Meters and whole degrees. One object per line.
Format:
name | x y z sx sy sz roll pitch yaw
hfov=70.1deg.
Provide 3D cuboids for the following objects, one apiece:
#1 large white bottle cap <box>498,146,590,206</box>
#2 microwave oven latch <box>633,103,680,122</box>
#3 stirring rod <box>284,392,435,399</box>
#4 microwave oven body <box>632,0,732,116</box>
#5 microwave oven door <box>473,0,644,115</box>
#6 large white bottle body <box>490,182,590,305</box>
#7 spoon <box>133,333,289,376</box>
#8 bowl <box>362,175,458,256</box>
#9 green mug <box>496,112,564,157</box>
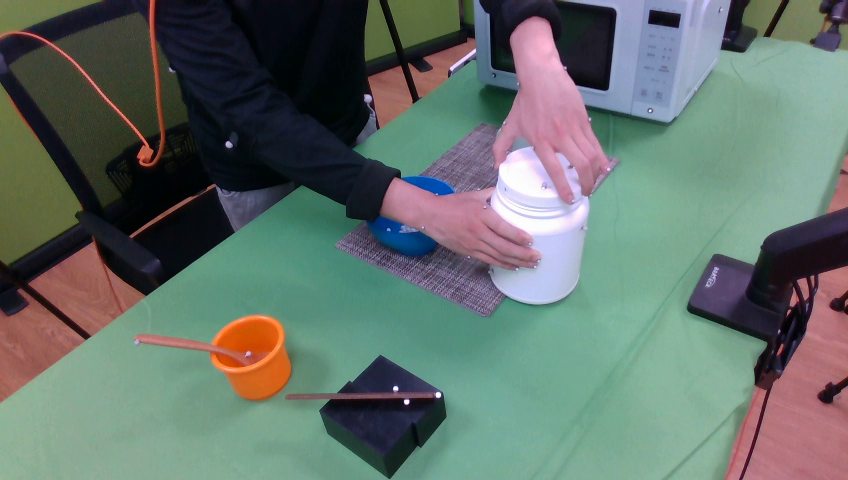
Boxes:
large white bottle cap | 0.152 -0.083 0.770 0.115 0.018 0.114 -1 40 2
microwave oven latch | 0.443 -0.249 1.157 0.078 0.029 0.030 20 48 29
stirring rod | -0.075 0.180 0.698 0.176 0.006 0.014 -2 6 7
microwave oven body | 0.377 -0.462 1.267 0.438 0.261 0.327 21 48 30
microwave oven door | 0.257 -0.396 1.199 0.353 0.245 0.039 21 48 29
large white bottle body | 0.157 -0.015 0.834 0.130 0.185 0.130 -3 43 3
spoon | -0.257 0.137 0.747 0.021 0.195 0.041 -49 39 21
bowl | -0.018 -0.029 0.955 0.151 0.077 0.150 -4 40 4
green mug | 0.185 -0.161 1.061 0.124 0.105 0.092 15 46 24
